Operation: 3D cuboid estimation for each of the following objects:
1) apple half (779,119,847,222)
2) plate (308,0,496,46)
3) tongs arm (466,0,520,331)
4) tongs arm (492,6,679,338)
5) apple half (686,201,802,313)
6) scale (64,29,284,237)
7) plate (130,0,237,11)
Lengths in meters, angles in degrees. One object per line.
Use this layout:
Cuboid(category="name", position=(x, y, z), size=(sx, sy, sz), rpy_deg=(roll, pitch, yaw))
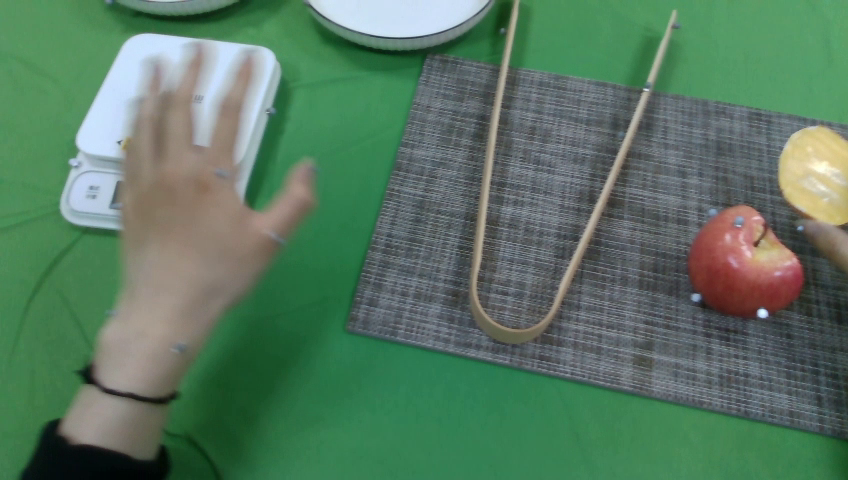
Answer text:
Cuboid(category="apple half", position=(0.309, -0.049, 0.472), size=(0.081, 0.033, 0.081), rpy_deg=(-1, 78, 5))
Cuboid(category="plate", position=(-0.022, -0.272, 0.629), size=(0.209, 0.038, 0.207), rpy_deg=(1, 61, -1))
Cuboid(category="tongs arm", position=(0.071, -0.104, 0.540), size=(0.028, 0.028, 0.384), rpy_deg=(11, 62, 1))
Cuboid(category="tongs arm", position=(0.151, -0.080, 0.527), size=(0.050, 0.027, 0.383), rpy_deg=(23, 64, 10))
Cuboid(category="apple half", position=(0.227, 0.019, 0.450), size=(0.053, 0.075, 0.080), rpy_deg=(-23, 67, -9))
Cuboid(category="scale", position=(-0.215, -0.100, 0.532), size=(0.148, 0.032, 0.199), rpy_deg=(7, 62, 3))
Cuboid(category="plate", position=(-0.243, -0.313, 0.645), size=(0.208, 0.039, 0.206), rpy_deg=(1, 61, -1))
